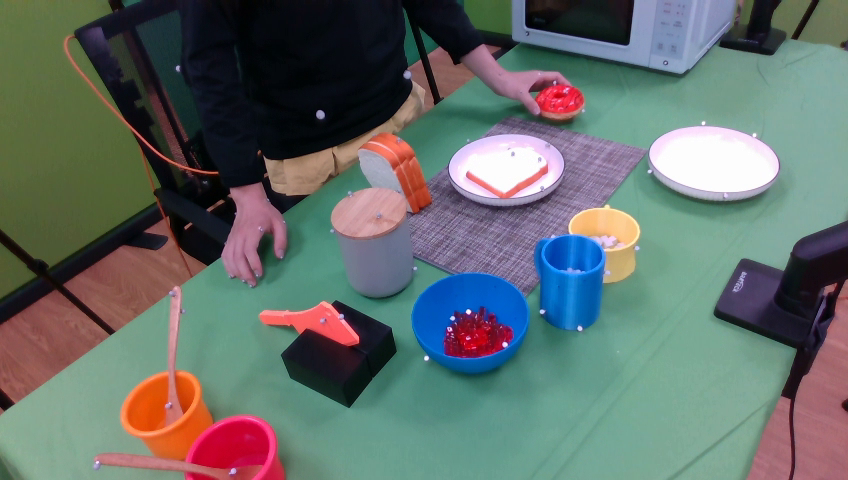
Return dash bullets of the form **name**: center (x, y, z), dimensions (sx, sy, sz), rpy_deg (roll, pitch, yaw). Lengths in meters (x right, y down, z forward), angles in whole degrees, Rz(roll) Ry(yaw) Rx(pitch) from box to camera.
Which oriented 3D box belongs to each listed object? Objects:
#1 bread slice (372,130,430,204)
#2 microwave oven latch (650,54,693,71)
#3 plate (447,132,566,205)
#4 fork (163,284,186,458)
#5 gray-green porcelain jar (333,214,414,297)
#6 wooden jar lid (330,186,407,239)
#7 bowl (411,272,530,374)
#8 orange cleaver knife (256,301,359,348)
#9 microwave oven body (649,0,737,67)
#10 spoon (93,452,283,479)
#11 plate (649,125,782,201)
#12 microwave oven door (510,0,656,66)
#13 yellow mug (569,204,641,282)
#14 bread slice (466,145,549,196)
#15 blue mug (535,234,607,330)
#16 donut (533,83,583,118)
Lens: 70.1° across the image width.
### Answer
- **bread slice**: center (-0.042, -0.127, 1.038), dimensions (0.106, 0.135, 0.018), rpy_deg (30, 61, 33)
- **microwave oven latch**: center (0.531, -0.386, 1.301), dimensions (0.078, 0.029, 0.030), rpy_deg (26, 51, 33)
- **plate**: center (0.146, -0.124, 1.076), dimensions (0.209, 0.038, 0.208), rpy_deg (-3, 41, 3)
- **fork**: center (-0.302, 0.157, 0.733), dimensions (0.028, 0.019, 0.207), rpy_deg (-4, 84, 16)
- **gray-green porcelain jar**: center (-0.071, 0.012, 0.887), dimensions (0.106, 0.127, 0.105), rpy_deg (-4, 41, 4)
- **wooden jar lid**: center (-0.077, -0.035, 0.846), dimensions (0.108, 0.021, 0.108), rpy_deg (-5, 41, 5)
- **bowl**: center (0.062, 0.120, 0.780), dimensions (0.151, 0.077, 0.150), rpy_deg (-4, 40, 4)
- **orange cleaver knife**: center (-0.160, 0.115, 0.813), dimensions (0.210, 0.077, 0.012), rpy_deg (-9, 29, 48)
- **microwave oven body**: center (0.475, -0.602, 1.411), dimensions (0.438, 0.261, 0.327), rpy_deg (23, 50, 32)
- **spoon**: center (-0.240, 0.239, 0.632), dimensions (0.195, 0.021, 0.041), rpy_deg (26, 33, -32)
- **plate**: center (0.493, -0.127, 1.036), dimensions (0.207, 0.039, 0.206), rpy_deg (-4, 41, 4)
- **microwave oven door**: center (0.350, -0.539, 1.349), dimensions (0.353, 0.245, 0.039), rpy_deg (24, 50, 31)
- **yellow mug**: center (0.268, -0.005, 0.904), dimensions (0.099, 0.064, 0.130), rpy_deg (7, 41, 15)
- **bread slice**: center (0.156, -0.128, 1.085), dimensions (0.132, 0.019, 0.104), rpy_deg (-34, 48, -23)
- **blue mug**: center (0.191, 0.048, 0.824), dimensions (0.082, 0.106, 0.115), rpy_deg (-26, 44, -20)
- **donut**: center (0.269, -0.279, 1.209), dimensions (0.099, 0.048, 0.098), rpy_deg (-3, 42, 3)
